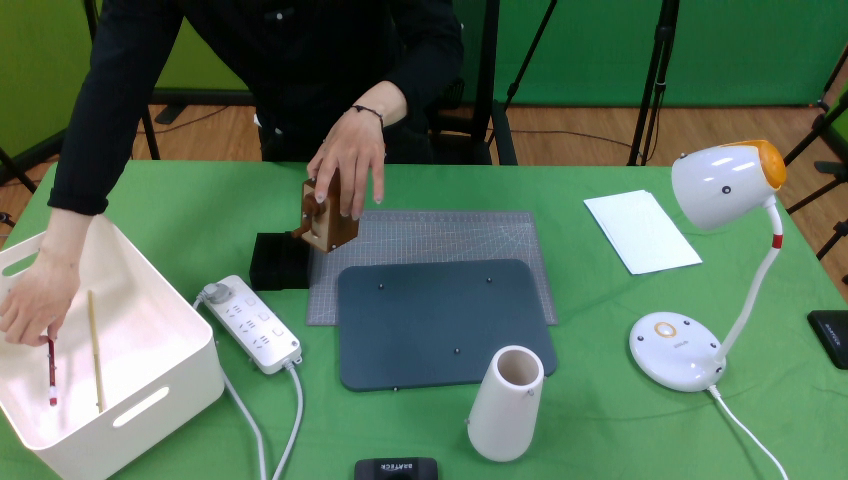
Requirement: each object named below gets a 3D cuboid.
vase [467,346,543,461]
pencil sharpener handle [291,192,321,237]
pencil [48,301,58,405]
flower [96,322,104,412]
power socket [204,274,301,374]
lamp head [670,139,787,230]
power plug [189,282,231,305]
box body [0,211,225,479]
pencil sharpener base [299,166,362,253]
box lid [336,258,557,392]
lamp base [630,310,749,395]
[{"bbox_3d":[0.116,0.234,0.861,0.098,0.201,0.097,1,47,-1],"label":"vase"},{"bbox_3d":[-0.172,-0.034,0.866,0.036,0.068,0.030,36,43,18],"label":"pencil sharpener handle"},{"bbox_3d":[-0.580,0.172,0.946,0.012,0.012,0.192,-14,54,-17],"label":"pencil"},{"bbox_3d":[-0.514,0.209,0.959,0.044,0.038,0.359,0,38,-30],"label":"flower"},{"bbox_3d":[-0.296,0.140,1.035,0.072,0.033,0.225,-33,57,-29],"label":"power socket"},{"bbox_3d":[0.415,-0.079,0.812,0.113,0.123,0.112,12,70,-37],"label":"lamp head"},{"bbox_3d":[-0.368,0.097,1.039,0.072,0.053,0.035,-25,55,-20],"label":"power plug"},{"bbox_3d":[-0.504,0.154,0.916,0.362,0.161,0.254,36,54,27],"label":"box body"},{"bbox_3d":[-0.142,-0.044,0.908,0.061,0.107,0.076,31,41,23],"label":"pencil sharpener base"},{"bbox_3d":[0.030,0.140,1.073,0.372,0.015,0.261,-3,47,-7],"label":"box lid"},{"bbox_3d":[0.447,0.142,0.984,0.161,0.181,0.178,-24,55,-24],"label":"lamp base"}]
